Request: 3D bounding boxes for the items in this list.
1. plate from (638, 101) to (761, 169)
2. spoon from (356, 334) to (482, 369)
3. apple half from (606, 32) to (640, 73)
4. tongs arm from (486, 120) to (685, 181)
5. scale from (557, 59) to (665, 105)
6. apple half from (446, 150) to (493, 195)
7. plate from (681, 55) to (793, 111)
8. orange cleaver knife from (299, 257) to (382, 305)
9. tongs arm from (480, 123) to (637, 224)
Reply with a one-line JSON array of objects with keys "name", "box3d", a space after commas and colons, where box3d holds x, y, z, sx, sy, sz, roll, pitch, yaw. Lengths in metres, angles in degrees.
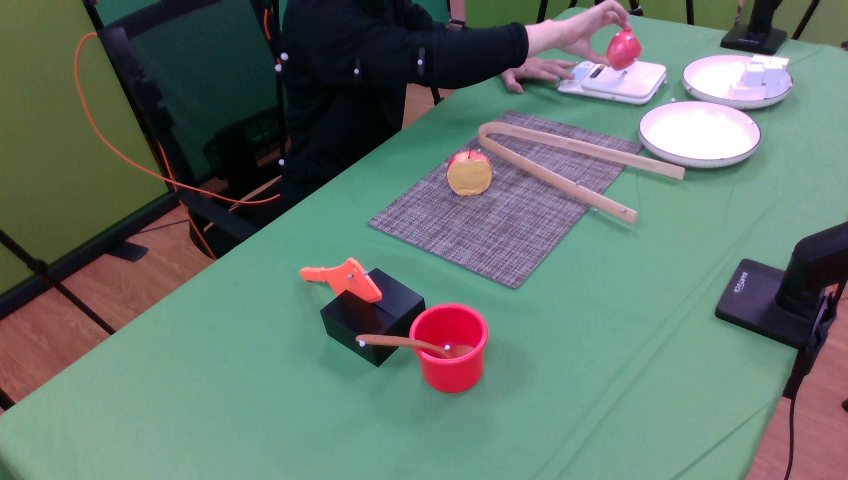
[{"name": "plate", "box3d": [0.500, -0.189, 1.111, 0.209, 0.038, 0.208, -4, 41, 4]}, {"name": "spoon", "box3d": [-0.001, 0.130, 0.731, 0.195, 0.021, 0.041, 21, 27, -39]}, {"name": "apple half", "box3d": [0.410, -0.377, 1.226, 0.081, 0.081, 0.032, -22, 26, -16]}, {"name": "tongs arm", "box3d": [0.287, -0.171, 1.123, 0.384, 0.028, 0.028, 21, 52, 29]}, {"name": "scale", "box3d": [0.407, -0.348, 1.314, 0.199, 0.032, 0.149, 19, 47, 28]}, {"name": "apple half", "box3d": [0.080, -0.124, 1.065, 0.081, 0.075, 0.053, -7, 36, 7]}, {"name": "plate", "box3d": [0.636, -0.317, 1.239, 0.207, 0.039, 0.206, -4, 40, 4]}, {"name": "orange cleaver knife", "box3d": [-0.124, 0.062, 0.872, 0.012, 0.077, 0.210, -38, 17, -30]}, {"name": "tongs arm", "box3d": [0.227, -0.128, 1.080, 0.051, 0.026, 0.381, -33, 46, -26]}]
